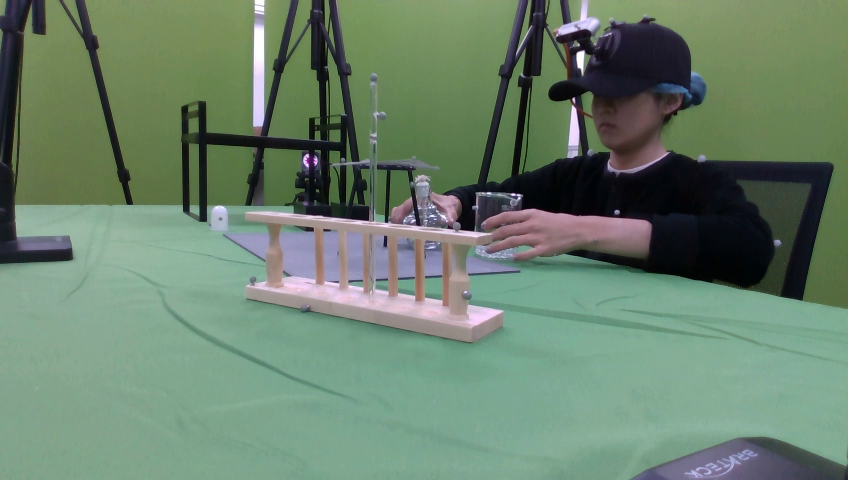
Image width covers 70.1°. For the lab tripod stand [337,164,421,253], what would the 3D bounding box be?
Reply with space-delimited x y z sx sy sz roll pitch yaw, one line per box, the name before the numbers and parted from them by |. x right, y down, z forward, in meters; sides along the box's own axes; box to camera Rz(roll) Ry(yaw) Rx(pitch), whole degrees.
lab tripod stand | -0.060 -0.046 0.895 0.148 0.131 0.148 1 6 0

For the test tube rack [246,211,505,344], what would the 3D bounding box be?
test tube rack | -0.049 0.025 0.547 0.241 0.085 0.067 7 8 29

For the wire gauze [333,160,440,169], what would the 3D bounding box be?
wire gauze | -0.052 -0.111 0.884 0.121 0.011 0.125 4 7 19

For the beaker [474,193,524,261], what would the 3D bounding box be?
beaker | 0.116 -0.021 0.929 0.074 0.100 0.083 -2 9 -33

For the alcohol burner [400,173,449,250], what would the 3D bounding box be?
alcohol burner | 0.001 -0.046 0.952 0.078 0.119 0.078 -1 11 1

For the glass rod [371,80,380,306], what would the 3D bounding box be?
glass rod | -0.042 -0.039 0.530 0.008 0.199 0.008 0 2 0

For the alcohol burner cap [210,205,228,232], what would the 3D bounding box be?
alcohol burner cap | -0.376 -0.040 1.107 0.034 0.048 0.034 2 7 0
